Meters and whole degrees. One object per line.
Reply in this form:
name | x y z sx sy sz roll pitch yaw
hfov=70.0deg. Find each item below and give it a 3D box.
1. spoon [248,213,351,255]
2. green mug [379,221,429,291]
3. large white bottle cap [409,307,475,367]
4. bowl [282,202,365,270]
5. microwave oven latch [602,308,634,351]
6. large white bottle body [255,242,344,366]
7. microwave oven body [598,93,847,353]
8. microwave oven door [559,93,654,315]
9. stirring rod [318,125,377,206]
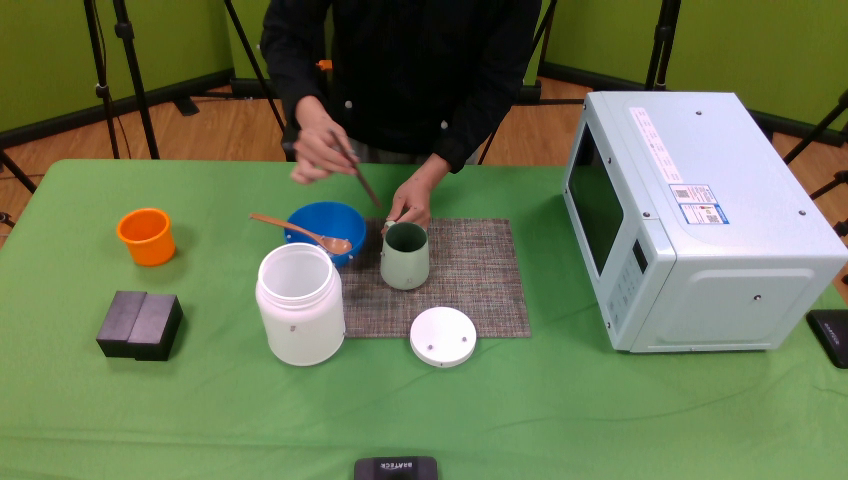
spoon | -0.228 -0.014 1.113 0.194 0.022 0.041 23 40 -15
green mug | -0.044 0.020 1.116 0.092 0.105 0.124 -20 50 -22
large white bottle cap | 0.031 0.165 1.041 0.115 0.018 0.114 2 47 -2
bowl | -0.185 0.006 1.137 0.151 0.077 0.150 3 46 -3
microwave oven latch | 0.332 0.153 1.044 0.030 0.029 0.078 -1 45 -4
large white bottle body | -0.196 0.102 0.967 0.131 0.185 0.130 2 49 -2
microwave oven body | 0.475 -0.041 1.109 0.326 0.261 0.438 -1 45 -4
microwave oven door | 0.327 -0.074 1.123 0.039 0.245 0.353 -1 46 -5
stirring rod | -0.115 -0.111 0.930 0.014 0.177 0.006 22 66 40
